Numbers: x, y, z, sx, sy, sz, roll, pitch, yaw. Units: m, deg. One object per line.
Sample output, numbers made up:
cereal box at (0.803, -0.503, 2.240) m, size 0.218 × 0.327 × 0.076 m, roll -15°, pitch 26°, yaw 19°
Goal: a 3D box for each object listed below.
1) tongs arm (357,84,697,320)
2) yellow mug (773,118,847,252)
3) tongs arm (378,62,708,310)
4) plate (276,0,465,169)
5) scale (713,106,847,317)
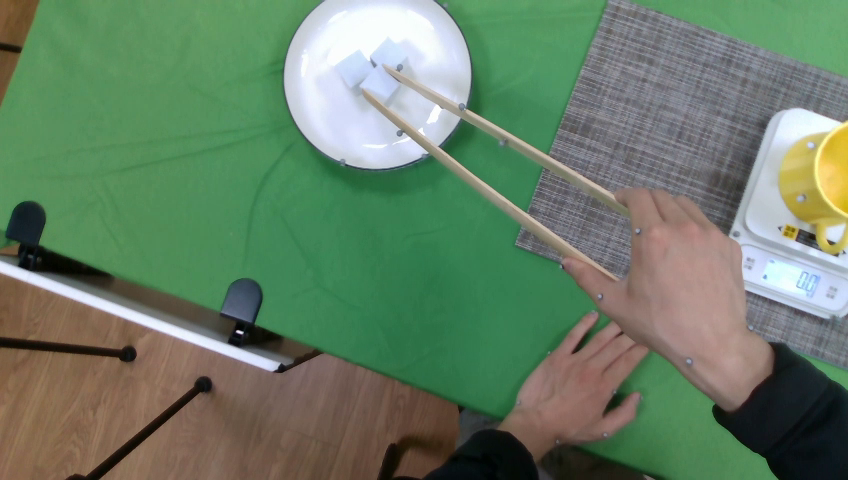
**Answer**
tongs arm at (0.063, -0.049, 0.533) m, size 0.028 × 0.028 × 0.384 m, roll -45°, pitch 60°, yaw -7°
yellow mug at (0.412, -0.052, 0.603) m, size 0.100 × 0.064 × 0.130 m, roll 10°, pitch 89°, yaw 2°
tongs arm at (0.079, -0.066, 0.535) m, size 0.381 × 0.027 × 0.050 m, roll 35°, pitch 82°, yaw 30°
plate at (-0.058, -0.179, 0.675) m, size 0.207 × 0.039 × 0.207 m, roll 0°, pitch 88°, yaw 2°
scale at (0.412, -0.031, 0.649) m, size 0.148 × 0.031 × 0.200 m, roll 20°, pitch 89°, yaw 4°
